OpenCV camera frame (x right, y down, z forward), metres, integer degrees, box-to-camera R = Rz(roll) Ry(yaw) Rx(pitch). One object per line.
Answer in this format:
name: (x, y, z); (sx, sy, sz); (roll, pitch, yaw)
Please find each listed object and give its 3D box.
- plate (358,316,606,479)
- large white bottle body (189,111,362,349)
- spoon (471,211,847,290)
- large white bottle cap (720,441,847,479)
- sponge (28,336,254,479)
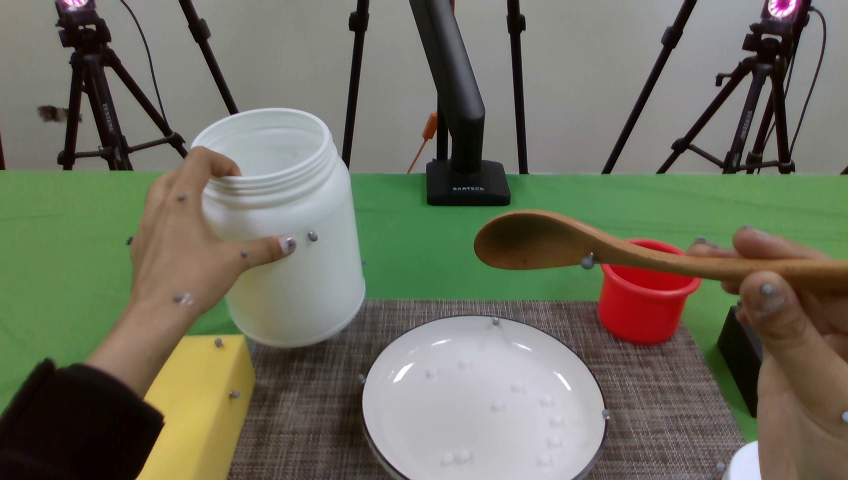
plate: (0.048, 0.147, 0.525); (0.209, 0.038, 0.207); (1, 34, 0)
large white bottle body: (-0.128, -0.008, 0.539); (0.130, 0.186, 0.129); (-1, 41, 1)
spoon: (0.111, 0.009, 0.261); (0.192, 0.042, 0.021); (7, 49, 30)
large white bottle cap: (0.290, 0.206, 0.465); (0.115, 0.018, 0.114); (3, 34, -2)
sponge: (-0.217, 0.166, 0.472); (0.118, 0.061, 0.205); (-2, 33, -1)
